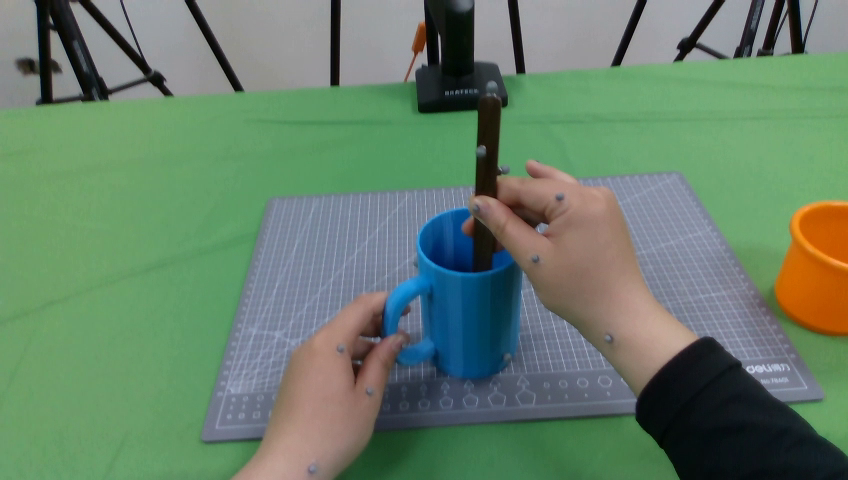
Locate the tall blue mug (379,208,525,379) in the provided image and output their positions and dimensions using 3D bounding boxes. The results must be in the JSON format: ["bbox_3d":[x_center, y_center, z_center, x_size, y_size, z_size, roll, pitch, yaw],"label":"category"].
[{"bbox_3d":[0.026,0.050,0.446,0.077,0.109,0.107,18,44,23],"label":"tall blue mug"}]

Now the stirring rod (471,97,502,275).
[{"bbox_3d":[0.038,-0.006,0.390,0.014,0.177,0.006,7,33,12],"label":"stirring rod"}]
